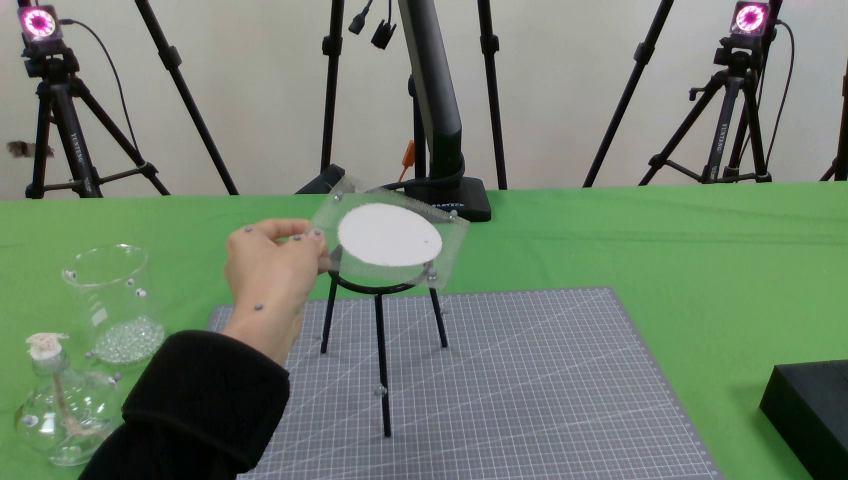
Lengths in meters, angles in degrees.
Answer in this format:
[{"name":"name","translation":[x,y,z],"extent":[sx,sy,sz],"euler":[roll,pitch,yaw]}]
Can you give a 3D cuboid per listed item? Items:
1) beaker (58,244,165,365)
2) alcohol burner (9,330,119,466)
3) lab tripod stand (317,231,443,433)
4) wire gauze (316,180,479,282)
[{"name":"beaker","translation":[-0.298,0.063,0.591],"extent":[0.074,0.101,0.083],"euler":[4,31,6]},{"name":"alcohol burner","translation":[-0.289,0.120,0.481],"extent":[0.078,0.120,0.077],"euler":[1,29,0]},{"name":"lab tripod stand","translation":[-0.038,0.072,0.540],"extent":[0.148,0.132,0.147],"euler":[2,32,-1]},{"name":"wire gauze","translation":[-0.022,-0.013,0.475],"extent":[0.125,0.011,0.120],"euler":[12,28,-16]}]
